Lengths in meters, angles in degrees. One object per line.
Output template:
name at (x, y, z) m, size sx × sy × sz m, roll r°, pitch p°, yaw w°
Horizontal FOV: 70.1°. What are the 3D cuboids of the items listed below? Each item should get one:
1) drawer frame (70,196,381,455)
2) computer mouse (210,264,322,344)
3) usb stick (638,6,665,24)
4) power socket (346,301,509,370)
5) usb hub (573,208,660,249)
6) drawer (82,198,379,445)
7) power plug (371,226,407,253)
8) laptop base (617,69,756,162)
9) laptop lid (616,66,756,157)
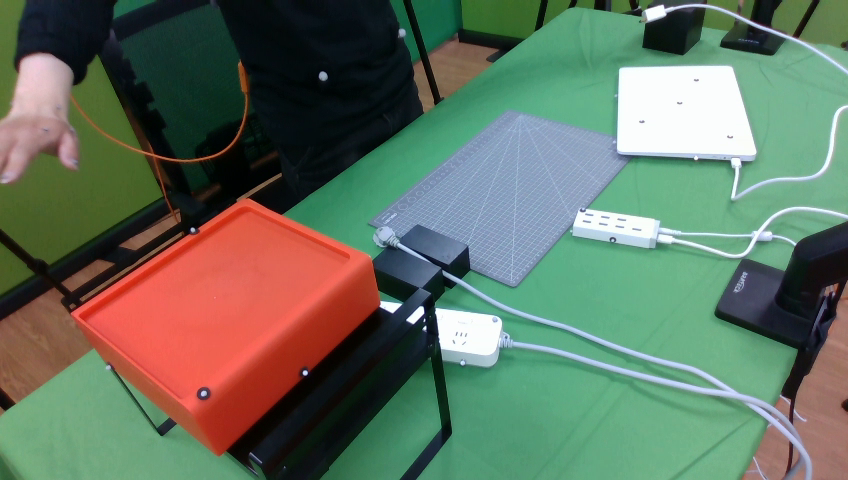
drawer frame at (-0.186, 0.068, 0.597) m, size 0.200 × 0.083 × 0.214 m, roll 23°, pitch 49°, yaw 30°
computer mouse at (-0.164, 0.062, 0.625) m, size 0.116 × 0.041 × 0.063 m, roll 22°, pitch 45°, yaw 27°
usb stick at (0.503, -0.499, 1.347) m, size 0.059 × 0.027 × 0.021 m, roll -21°, pitch 6°, yaw -1°
power socket at (-0.001, 0.126, 0.817) m, size 0.226 × 0.033 × 0.072 m, roll 7°, pitch 43°, yaw 15°
usb hub at (0.302, -0.019, 0.949) m, size 0.124 × 0.025 × 0.049 m, roll 11°, pitch 43°, yaw 20°
drawer at (-0.185, 0.066, 0.600) m, size 0.193 × 0.073 × 0.212 m, roll 24°, pitch 50°, yaw 31°
power plug at (-0.054, 0.009, 0.929) m, size 0.035 × 0.053 × 0.072 m, roll -34°, pitch 64°, yaw -5°
laptop base at (0.507, -0.256, 1.204) m, size 0.235 × 0.023 × 0.353 m, roll 3°, pitch 41°, yaw 15°
laptop lid at (0.503, -0.265, 1.196) m, size 0.241 × 0.013 × 0.356 m, roll 5°, pitch 41°, yaw 16°
